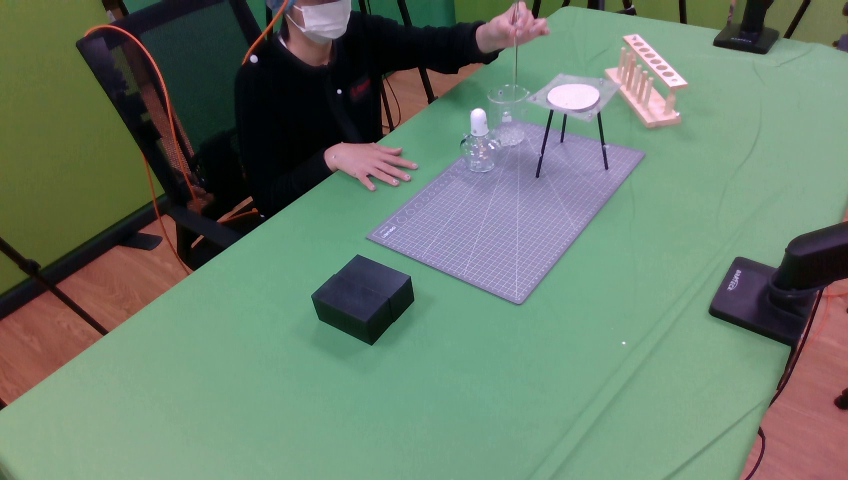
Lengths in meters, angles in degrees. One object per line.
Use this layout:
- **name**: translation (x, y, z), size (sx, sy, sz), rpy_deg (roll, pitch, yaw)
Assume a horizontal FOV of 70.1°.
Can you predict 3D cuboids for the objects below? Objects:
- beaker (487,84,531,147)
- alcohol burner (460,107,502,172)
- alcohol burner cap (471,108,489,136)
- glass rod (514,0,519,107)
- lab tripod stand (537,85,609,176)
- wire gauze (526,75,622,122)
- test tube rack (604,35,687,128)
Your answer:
- **beaker**: translation (0.163, -0.237, 1.162), size (0.084, 0.101, 0.073), rpy_deg (-10, 41, -3)
- **alcohol burner**: translation (0.102, -0.185, 1.098), size (0.078, 0.119, 0.077), rpy_deg (-6, 40, 6)
- **alcohol burner cap**: translation (0.098, -0.211, 1.074), size (0.034, 0.048, 0.033), rpy_deg (-6, 42, 6)
- **glass rod**: translation (0.165, -0.331, 1.075), size (0.008, 0.200, 0.008), rpy_deg (-3, 36, 3)
- **lab tripod stand**: translation (0.259, -0.192, 1.068), size (0.148, 0.132, 0.147), rpy_deg (-4, 42, 4)
- **wire gauze**: translation (0.255, -0.248, 1.030), size (0.124, 0.011, 0.122), rpy_deg (24, 51, 32)
- **test tube rack**: translation (0.447, -0.330, 1.241), size (0.067, 0.085, 0.241), rpy_deg (-9, 41, -2)
